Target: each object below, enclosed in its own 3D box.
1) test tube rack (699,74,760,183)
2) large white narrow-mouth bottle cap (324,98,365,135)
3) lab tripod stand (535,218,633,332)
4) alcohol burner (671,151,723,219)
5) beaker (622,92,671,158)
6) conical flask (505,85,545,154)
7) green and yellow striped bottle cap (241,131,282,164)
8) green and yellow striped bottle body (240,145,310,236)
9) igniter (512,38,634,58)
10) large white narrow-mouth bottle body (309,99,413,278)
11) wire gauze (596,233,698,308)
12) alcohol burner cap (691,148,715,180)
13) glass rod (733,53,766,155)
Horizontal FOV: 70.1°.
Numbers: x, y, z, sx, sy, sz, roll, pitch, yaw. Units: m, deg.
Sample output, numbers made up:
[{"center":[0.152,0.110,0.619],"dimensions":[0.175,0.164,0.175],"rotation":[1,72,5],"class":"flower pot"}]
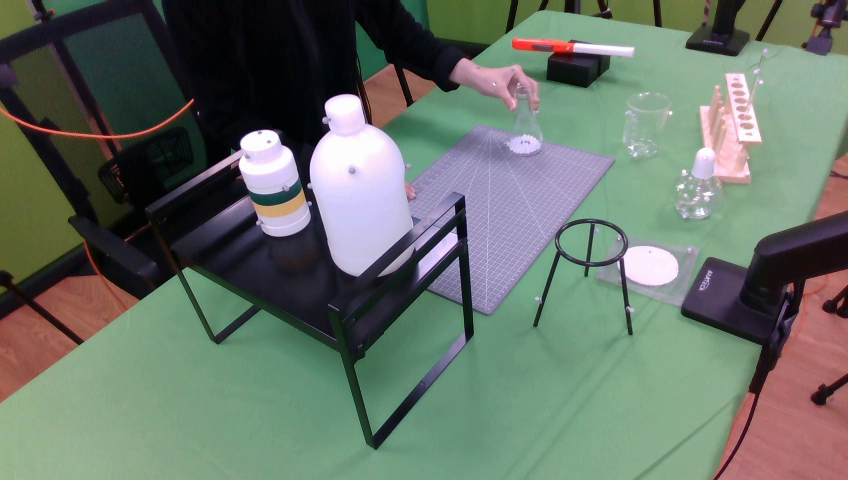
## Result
[{"center":[0.547,-0.208,1.095],"dimensions":[0.066,0.085,0.242],"rotation":[6,42,16],"class":"test tube rack"},{"center":[-0.076,-0.120,0.585],"dimensions":[0.038,0.024,0.037],"rotation":[-3,42,3],"class":"large white narrow-mouth bottle cap"},{"center":[0.215,0.050,0.803],"dimensions":[0.148,0.132,0.147],"rotation":[-4,42,4],"class":"lab tripod stand"},{"center":[0.434,-0.093,0.955],"dimensions":[0.078,0.119,0.077],"rotation":[-3,43,4],"class":"alcohol burner"},{"center":[0.402,-0.210,1.106],"dimensions":[0.074,0.101,0.083],"rotation":[-9,40,-2],"class":"beaker"},{"center":[0.189,-0.227,1.134],"dimensions":[0.075,0.122,0.075],"rotation":[-4,42,4],"class":"conical flask"},{"center":[-0.187,-0.107,0.695],"dimensions":[0.045,0.020,0.045],"rotation":[-3,39,3],"class":"green and yellow striped bottle cap"},{"center":[-0.181,-0.068,0.729],"dimensions":[0.063,0.120,0.063],"rotation":[-4,40,4],"class":"green and yellow striped bottle body"},{"center":[0.328,-0.433,1.360],"dimensions":[0.275,0.025,0.057],"rotation":[12,33,20],"class":"igniter"},{"center":[-0.069,-0.057,0.644],"dimensions":[0.102,0.195,0.101],"rotation":[-3,42,4],"class":"large white narrow-mouth bottle body"},{"center":[0.331,0.038,0.897],"dimensions":[0.124,0.011,0.121],"rotation":[18,47,26],"class":"wire gauze"},{"center":[0.432,-0.120,0.931],"dimensions":[0.034,0.048,0.033],"rotation":[-7,48,8],"class":"alcohol burner cap"},{"center":[0.540,-0.219,1.006],"dimensions":[0.008,0.201,0.008],"rotation":[-5,45,6],"class":"glass rod"}]
